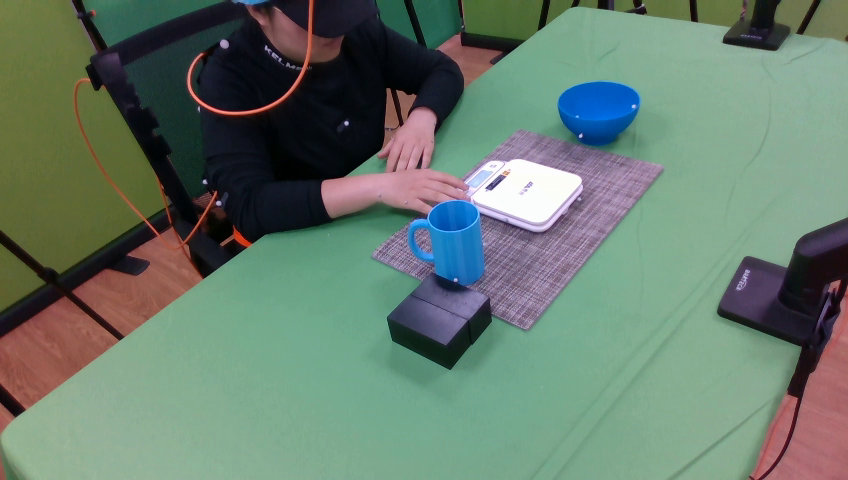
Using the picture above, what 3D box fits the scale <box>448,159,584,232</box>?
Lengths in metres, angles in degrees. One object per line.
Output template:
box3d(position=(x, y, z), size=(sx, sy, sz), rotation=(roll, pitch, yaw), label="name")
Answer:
box3d(position=(0.156, -0.085, 1.040), size=(0.199, 0.032, 0.149), rotation=(22, 49, 32), label="scale")

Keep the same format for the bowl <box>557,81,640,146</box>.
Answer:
box3d(position=(0.330, -0.233, 1.152), size=(0.151, 0.077, 0.150), rotation=(-5, 40, 5), label="bowl")

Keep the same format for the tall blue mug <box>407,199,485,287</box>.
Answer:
box3d(position=(0.034, 0.008, 0.892), size=(0.107, 0.108, 0.077), rotation=(-13, 41, -5), label="tall blue mug")
